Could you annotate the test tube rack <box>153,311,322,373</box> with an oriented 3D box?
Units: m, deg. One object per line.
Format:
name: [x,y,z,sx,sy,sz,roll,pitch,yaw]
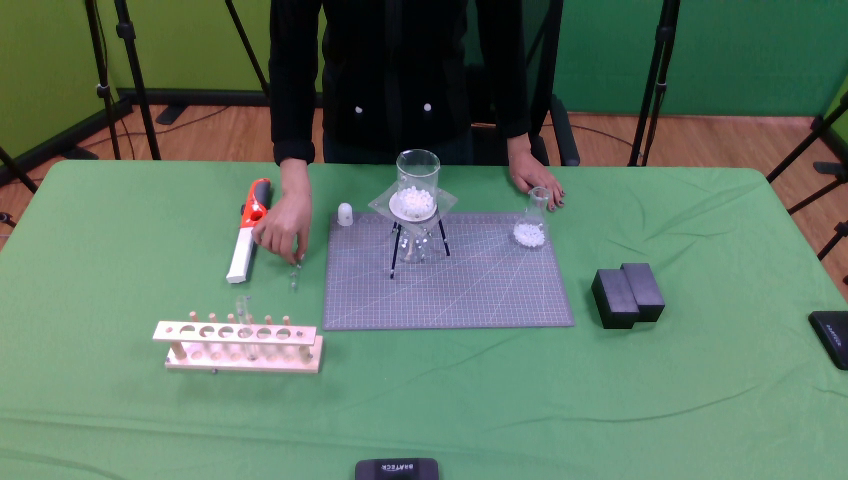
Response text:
test tube rack: [-0.293,0.160,0.978,0.242,0.085,0.066,3,46,-2]

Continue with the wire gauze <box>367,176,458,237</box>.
wire gauze: [-0.020,-0.066,1.089,0.124,0.011,0.121,27,47,22]

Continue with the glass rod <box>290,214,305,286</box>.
glass rod: [-0.245,0.016,1.176,0.008,0.008,0.198,0,43,-3]

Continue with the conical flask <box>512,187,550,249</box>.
conical flask: [0.217,-0.048,1.190,0.075,0.122,0.075,2,46,-2]

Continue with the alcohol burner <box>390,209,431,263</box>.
alcohol burner: [-0.024,-0.014,1.144,0.078,0.119,0.077,3,44,-3]

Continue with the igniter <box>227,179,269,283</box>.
igniter: [-0.344,-0.027,1.195,0.057,0.025,0.274,-6,46,4]

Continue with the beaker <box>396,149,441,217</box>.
beaker: [-0.015,-0.098,1.053,0.074,0.101,0.083,-31,55,-30]

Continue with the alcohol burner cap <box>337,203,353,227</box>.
alcohol burner cap: [-0.162,-0.053,1.221,0.034,0.048,0.033,0,49,0]

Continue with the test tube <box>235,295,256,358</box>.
test tube: [-0.274,0.136,0.933,0.017,0.151,0.017,4,46,-4]

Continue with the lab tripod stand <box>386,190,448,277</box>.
lab tripod stand: [-0.021,-0.018,1.135,0.148,0.132,0.147,3,44,-3]
